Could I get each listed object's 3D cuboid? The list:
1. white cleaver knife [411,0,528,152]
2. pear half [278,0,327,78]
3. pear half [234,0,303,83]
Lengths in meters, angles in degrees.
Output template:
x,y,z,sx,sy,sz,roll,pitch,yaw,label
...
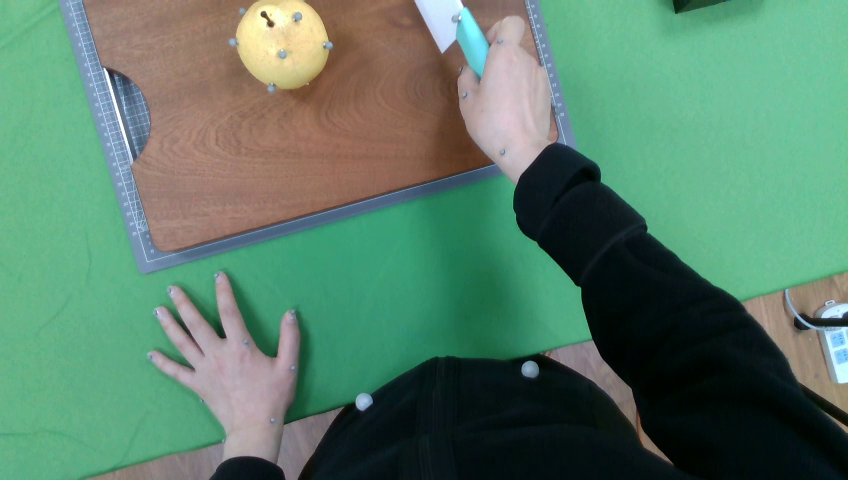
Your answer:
x,y,z,sx,sy,sz,roll,pitch,yaw,label
0.017,-0.209,0.546,0.021,0.066,0.286,-28,93,-25,white cleaver knife
-0.102,-0.181,0.527,0.031,0.088,0.070,-13,87,-2,pear half
-0.136,-0.175,0.516,0.056,0.110,0.076,-13,87,-1,pear half
